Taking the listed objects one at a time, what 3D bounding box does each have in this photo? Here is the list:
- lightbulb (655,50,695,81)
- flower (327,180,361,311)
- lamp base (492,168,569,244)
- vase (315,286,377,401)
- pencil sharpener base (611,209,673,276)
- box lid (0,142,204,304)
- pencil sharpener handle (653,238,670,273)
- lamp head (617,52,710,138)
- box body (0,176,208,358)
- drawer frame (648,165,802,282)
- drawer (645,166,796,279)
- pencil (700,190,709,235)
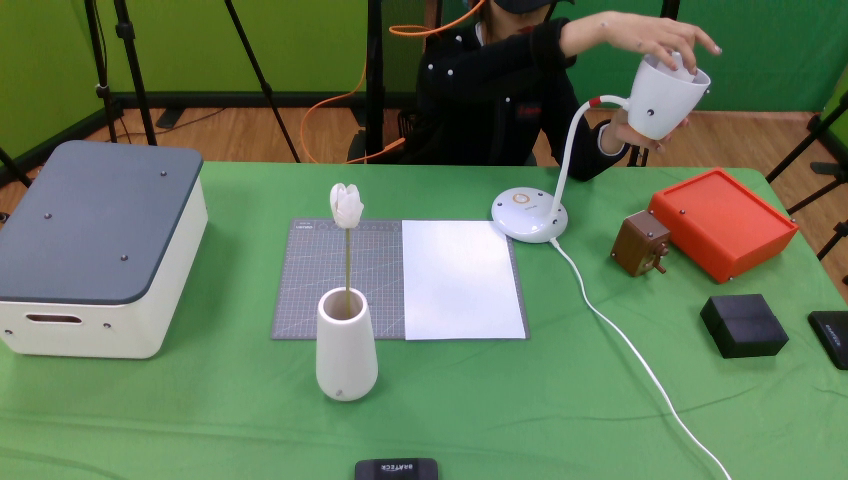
[{"bbox_3d":[0.387,-0.247,0.962,0.059,0.108,0.059,15,24,-6],"label":"lightbulb"},{"bbox_3d":[-0.111,0.086,0.867,0.044,0.363,0.038,22,34,35],"label":"flower"},{"bbox_3d":[0.233,-0.101,1.200,0.161,0.181,0.178,-24,55,-25],"label":"lamp base"},{"bbox_3d":[-0.119,0.159,0.911,0.098,0.201,0.097,2,47,-2],"label":"vase"},{"bbox_3d":[0.416,0.007,1.158,0.061,0.107,0.076,-21,51,-22],"label":"pencil sharpener base"},{"bbox_3d":[-0.534,-0.044,0.995,0.263,0.015,0.369,3,45,-3],"label":"box lid"},{"bbox_3d":[0.444,0.030,1.120,0.036,0.068,0.030,-25,52,-18],"label":"pencil sharpener handle"},{"bbox_3d":[0.376,-0.229,0.978,0.112,0.123,0.111,14,39,-11],"label":"lamp head"},{"bbox_3d":[-0.546,0.017,1.045,0.254,0.161,0.361,2,46,-2],"label":"box body"},{"bbox_3d":[0.603,-0.040,1.234,0.202,0.083,0.212,-21,51,-23],"label":"drawer frame"},{"bbox_3d":[0.600,-0.041,1.236,0.195,0.073,0.210,-21,51,-23],"label":"drawer"},{"bbox_3d":[0.583,-0.058,1.257,0.012,0.012,0.193,16,35,12],"label":"pencil"}]
